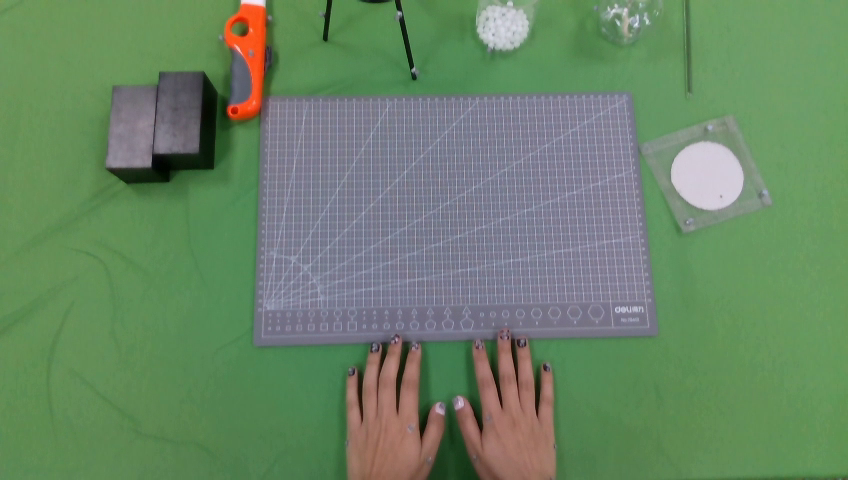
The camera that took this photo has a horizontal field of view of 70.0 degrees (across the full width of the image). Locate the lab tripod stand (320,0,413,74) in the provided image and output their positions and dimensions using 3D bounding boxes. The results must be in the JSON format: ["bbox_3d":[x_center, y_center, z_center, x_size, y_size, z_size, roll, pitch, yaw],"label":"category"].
[{"bbox_3d":[-0.055,-0.279,0.691,0.148,0.132,0.147,0,76,0],"label":"lab tripod stand"}]

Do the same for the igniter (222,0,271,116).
[{"bbox_3d":[-0.215,-0.279,0.740,0.057,0.025,0.275,3,77,-16],"label":"igniter"}]

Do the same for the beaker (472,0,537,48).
[{"bbox_3d":[0.095,-0.284,0.714,0.074,0.100,0.083,-10,77,-4],"label":"beaker"}]

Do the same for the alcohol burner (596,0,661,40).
[{"bbox_3d":[0.246,-0.291,0.713,0.078,0.119,0.077,0,75,-1],"label":"alcohol burner"}]

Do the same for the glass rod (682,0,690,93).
[{"bbox_3d":[0.331,-0.278,0.766,0.008,0.008,0.199,4,78,-1],"label":"glass rod"}]

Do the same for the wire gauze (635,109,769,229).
[{"bbox_3d":[0.334,-0.085,0.724,0.125,0.011,0.121,-19,79,-3],"label":"wire gauze"}]
